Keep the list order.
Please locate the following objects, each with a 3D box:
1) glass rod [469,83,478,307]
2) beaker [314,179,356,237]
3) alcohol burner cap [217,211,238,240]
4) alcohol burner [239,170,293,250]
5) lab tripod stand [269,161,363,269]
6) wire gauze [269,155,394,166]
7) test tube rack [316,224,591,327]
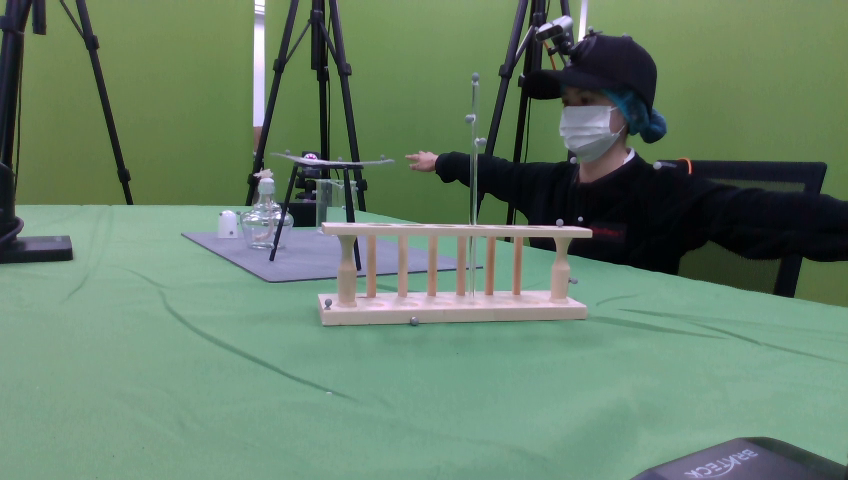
[{"bbox_3d":[0.043,-0.033,0.523,0.008,0.199,0.008,-1,14,1],"label":"glass rod"},{"bbox_3d":[-0.162,-0.058,1.094,0.074,0.100,0.083,0,9,-21],"label":"beaker"},{"bbox_3d":[-0.323,-0.024,0.994,0.034,0.048,0.034,3,8,0],"label":"alcohol burner cap"},{"bbox_3d":[-0.237,-0.045,0.904,0.078,0.119,0.078,1,8,0],"label":"alcohol burner"},{"bbox_3d":[-0.125,-0.036,0.794,0.148,0.131,0.148,5,7,0],"label":"lab tripod stand"},{"bbox_3d":[-0.121,-0.102,0.785,0.122,0.011,0.124,-3,10,-39],"label":"wire gauze"},{"bbox_3d":[0.026,0.028,0.555,0.243,0.085,0.066,1,7,-14],"label":"test tube rack"}]
